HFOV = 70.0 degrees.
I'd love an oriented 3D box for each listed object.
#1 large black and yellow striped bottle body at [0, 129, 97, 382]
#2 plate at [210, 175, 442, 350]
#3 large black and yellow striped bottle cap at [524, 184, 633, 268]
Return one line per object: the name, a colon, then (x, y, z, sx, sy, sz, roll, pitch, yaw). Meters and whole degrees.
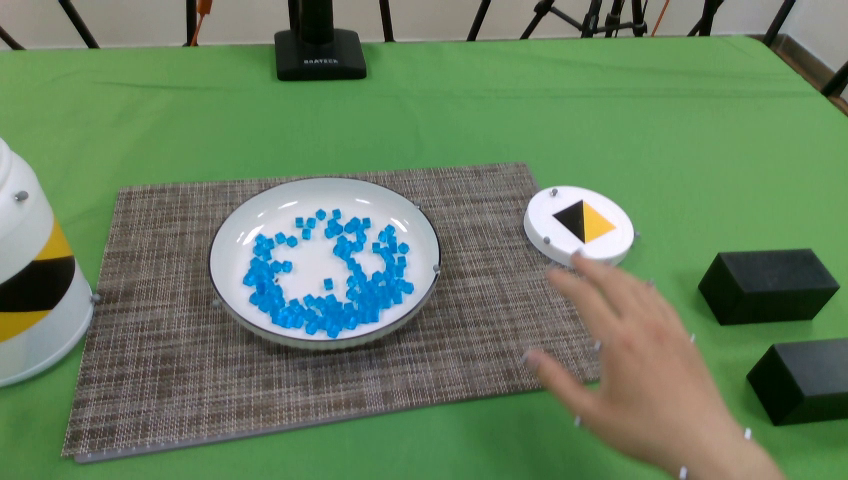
large black and yellow striped bottle body: (-0.337, 0.006, 0.446, 0.131, 0.185, 0.129, 3, 46, -3)
plate: (-0.087, 0.019, 0.561, 0.208, 0.039, 0.205, 4, 45, -3)
large black and yellow striped bottle cap: (0.164, -0.017, 0.644, 0.115, 0.019, 0.114, 6, 45, -6)
